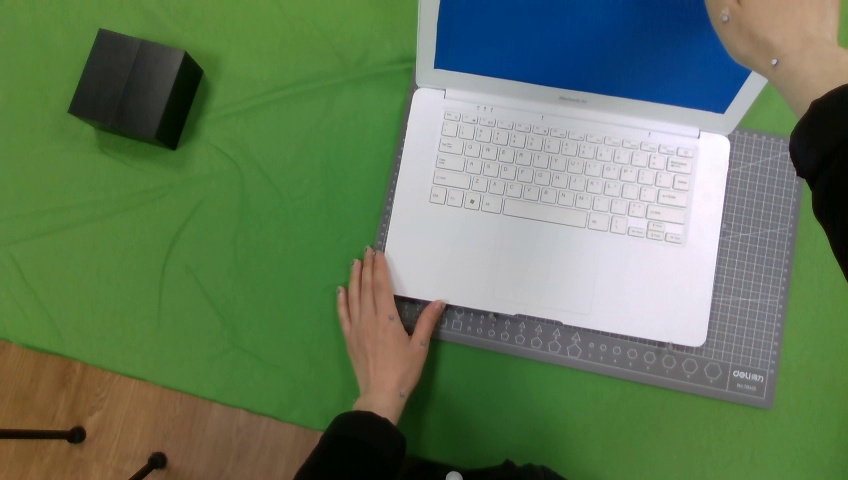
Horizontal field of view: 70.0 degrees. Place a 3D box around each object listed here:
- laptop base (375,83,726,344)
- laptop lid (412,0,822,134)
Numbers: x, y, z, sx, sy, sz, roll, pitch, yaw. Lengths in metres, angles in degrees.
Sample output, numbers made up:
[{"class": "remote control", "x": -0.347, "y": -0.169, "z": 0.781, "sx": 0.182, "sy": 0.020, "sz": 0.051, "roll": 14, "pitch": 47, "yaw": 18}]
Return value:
[{"class": "laptop base", "x": 0.139, "y": -0.031, "z": 0.663, "sx": 0.354, "sy": 0.023, "sz": 0.235, "roll": 10, "pitch": 86, "yaw": 2}, {"class": "laptop lid", "x": 0.165, "y": -0.206, "z": 0.575, "sx": 0.356, "sy": 0.243, "sz": 0.013, "roll": 9, "pitch": 59, "yaw": 3}]
